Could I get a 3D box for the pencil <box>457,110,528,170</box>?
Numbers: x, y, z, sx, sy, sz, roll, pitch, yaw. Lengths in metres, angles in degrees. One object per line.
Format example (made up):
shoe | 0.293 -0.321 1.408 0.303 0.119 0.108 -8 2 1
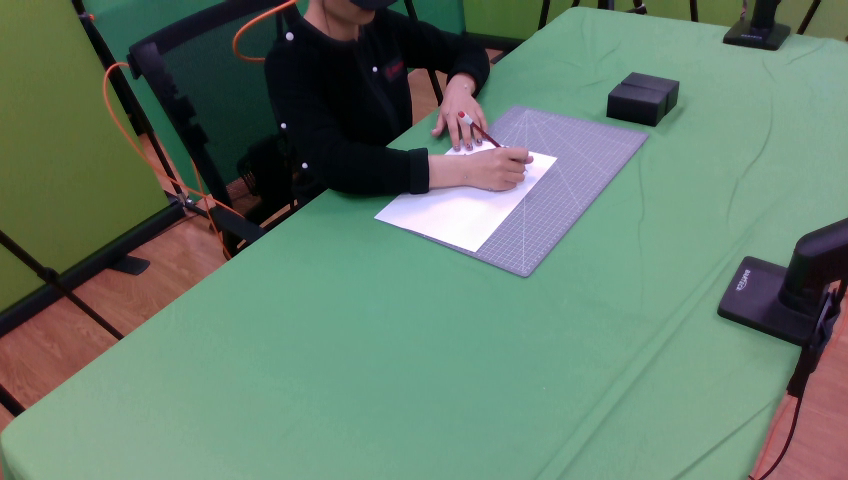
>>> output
pencil | 0.123 -0.169 1.046 0.012 0.196 0.012 -28 47 34
